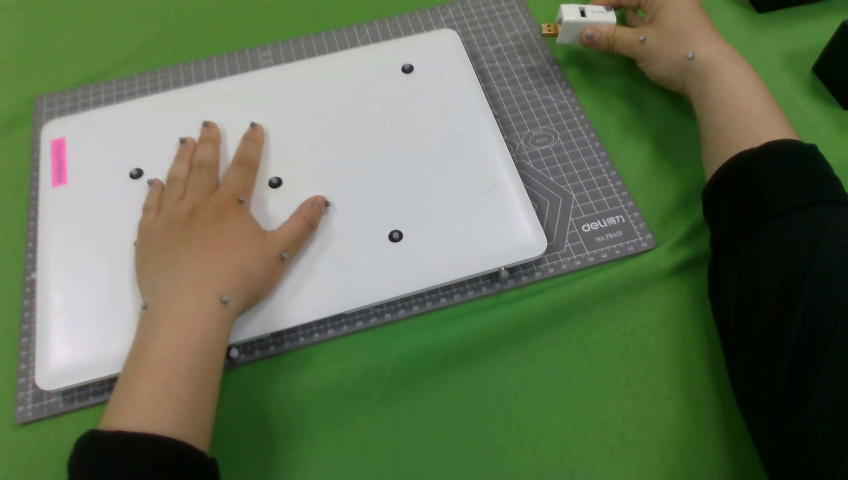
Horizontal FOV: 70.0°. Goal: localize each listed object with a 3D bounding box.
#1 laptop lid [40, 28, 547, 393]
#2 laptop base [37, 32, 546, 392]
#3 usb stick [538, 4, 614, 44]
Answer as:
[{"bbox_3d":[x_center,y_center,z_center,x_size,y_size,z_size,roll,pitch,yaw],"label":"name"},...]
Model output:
[{"bbox_3d":[-0.110,-0.042,0.457,0.357,0.013,0.239,-14,63,-5],"label":"laptop lid"},{"bbox_3d":[-0.111,-0.039,0.467,0.355,0.023,0.233,-15,63,-6],"label":"laptop base"},{"bbox_3d":[0.125,-0.179,0.503,0.059,0.027,0.021,-3,58,3],"label":"usb stick"}]
